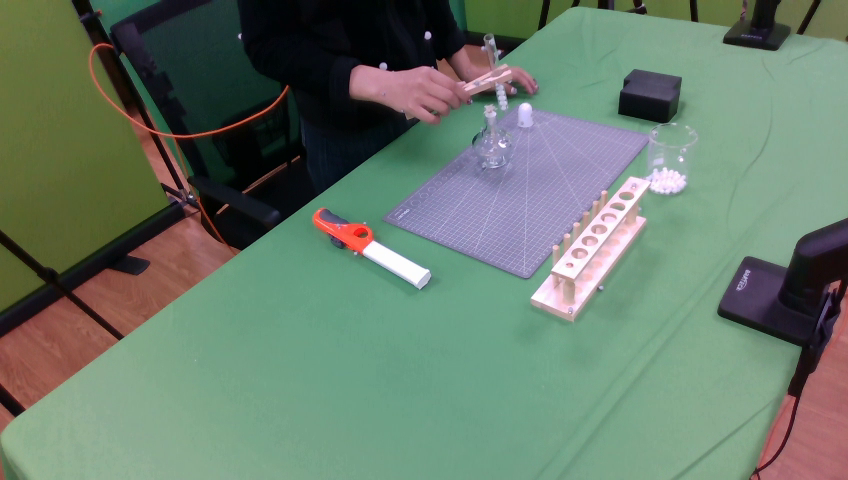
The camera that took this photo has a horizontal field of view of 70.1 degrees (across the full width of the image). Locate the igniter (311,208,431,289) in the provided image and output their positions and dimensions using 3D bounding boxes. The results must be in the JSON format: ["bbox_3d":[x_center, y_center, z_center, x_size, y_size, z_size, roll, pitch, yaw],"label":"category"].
[{"bbox_3d":[-0.096,0.008,0.986,0.274,0.025,0.057,28,63,36],"label":"igniter"}]

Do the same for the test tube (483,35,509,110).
[{"bbox_3d":[0.115,-0.259,0.949,0.017,0.151,0.017,-8,56,13],"label":"test tube"}]

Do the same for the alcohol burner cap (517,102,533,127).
[{"bbox_3d":[0.205,-0.255,1.223,0.034,0.048,0.033,-6,40,5],"label":"alcohol burner cap"}]

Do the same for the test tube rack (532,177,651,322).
[{"bbox_3d":[0.247,0.002,0.883,0.066,0.085,0.243,22,49,32],"label":"test tube rack"}]

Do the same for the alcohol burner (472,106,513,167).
[{"bbox_3d":[0.125,-0.195,1.111,0.078,0.119,0.077,-5,42,5],"label":"alcohol burner"}]

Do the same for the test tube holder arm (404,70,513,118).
[{"bbox_3d":[0.054,-0.230,0.953,0.178,0.015,0.013,-21,52,3],"label":"test tube holder arm"}]

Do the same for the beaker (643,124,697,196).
[{"bbox_3d":[0.407,-0.132,1.001,0.084,0.101,0.073,-20,41,-13],"label":"beaker"}]

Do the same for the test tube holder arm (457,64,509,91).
[{"bbox_3d":[0.093,-0.251,0.955,0.088,0.015,0.010,-27,53,-2],"label":"test tube holder arm"}]
